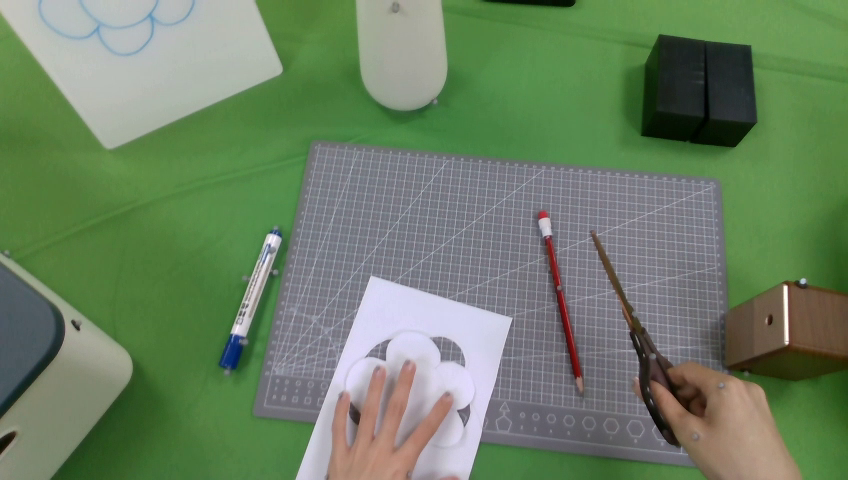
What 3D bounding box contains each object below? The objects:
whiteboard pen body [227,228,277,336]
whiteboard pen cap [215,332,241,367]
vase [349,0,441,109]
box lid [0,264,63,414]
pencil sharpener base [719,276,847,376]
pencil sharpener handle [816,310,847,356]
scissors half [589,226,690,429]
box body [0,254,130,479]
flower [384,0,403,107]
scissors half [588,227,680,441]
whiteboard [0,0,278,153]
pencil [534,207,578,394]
[{"bbox_3d":[-0.175,0.052,0.608,0.017,0.017,0.140,12,68,5],"label":"whiteboard pen body"},{"bbox_3d":[-0.188,0.105,0.585,0.018,0.018,0.033,11,65,5],"label":"whiteboard pen cap"},{"bbox_3d":[-0.031,-0.222,0.616,0.098,0.201,0.097,0,67,2],"label":"vase"},{"bbox_3d":[-0.482,0.067,0.446,0.370,0.015,0.262,32,72,11],"label":"box lid"},{"bbox_3d":[0.328,0.081,0.547,0.077,0.107,0.061,10,68,1],"label":"pencil sharpener base"},{"bbox_3d":[0.379,0.087,0.534,0.030,0.068,0.035,10,63,1],"label":"pencil sharpener handle"},{"bbox_3d":[0.171,0.067,0.488,0.013,0.040,0.175,-28,85,35],"label":"scissors half"},{"bbox_3d":[-0.480,0.096,0.515,0.362,0.161,0.253,31,73,11],"label":"box body"},{"bbox_3d":[-0.038,-0.266,0.544,0.044,0.365,0.038,-1,51,4],"label":"flower"},{"bbox_3d":[0.159,0.068,0.472,0.013,0.040,0.174,-27,68,30],"label":"scissors half"},{"bbox_3d":[-0.320,-0.285,0.616,0.217,0.308,0.142,-27,52,-9],"label":"whiteboard"},{"bbox_3d":[0.133,0.056,0.608,0.012,0.012,0.192,-7,71,-2],"label":"pencil"}]
